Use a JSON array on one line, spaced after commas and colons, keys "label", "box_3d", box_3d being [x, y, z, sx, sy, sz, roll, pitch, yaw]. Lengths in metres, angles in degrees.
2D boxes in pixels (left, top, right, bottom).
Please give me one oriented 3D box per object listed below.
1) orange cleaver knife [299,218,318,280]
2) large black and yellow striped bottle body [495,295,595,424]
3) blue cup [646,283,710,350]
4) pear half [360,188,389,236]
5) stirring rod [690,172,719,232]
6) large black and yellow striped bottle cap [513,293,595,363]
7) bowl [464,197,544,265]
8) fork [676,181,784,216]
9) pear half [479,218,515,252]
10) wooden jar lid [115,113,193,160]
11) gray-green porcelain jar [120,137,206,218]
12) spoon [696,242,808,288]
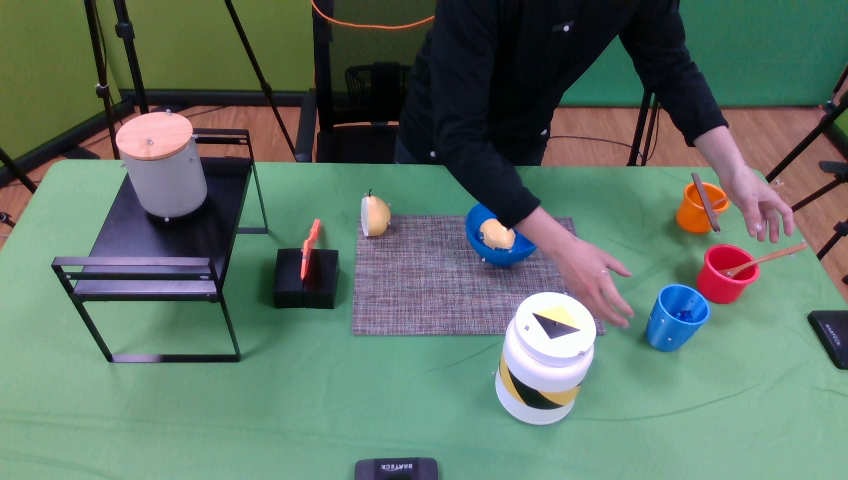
[{"label": "orange cleaver knife", "box_3d": [-0.214, 0.013, 1.126, 0.012, 0.077, 0.210, 5, 17, -5]}, {"label": "large black and yellow striped bottle body", "box_3d": [0.183, 0.182, 0.923, 0.131, 0.185, 0.130, 2, 46, -2]}, {"label": "blue cup", "box_3d": [0.427, 0.138, 1.041, 0.093, 0.101, 0.092, 3, 48, -3]}, {"label": "pear half", "box_3d": [-0.096, -0.060, 1.181, 0.056, 0.110, 0.076, -14, 52, -17]}, {"label": "stirring rod", "box_3d": [0.566, -0.080, 1.224, 0.014, 0.006, 0.175, 3, 46, 2]}, {"label": "large black and yellow striped bottle cap", "box_3d": [0.186, 0.123, 0.863, 0.115, 0.019, 0.114, 3, 45, -3]}, {"label": "bowl", "box_3d": [0.149, -0.004, 1.167, 0.151, 0.077, 0.150, 2, 46, -2]}, {"label": "fork", "box_3d": [0.618, -0.084, 1.234, 0.207, 0.019, 0.028, -23, 20, 38]}, {"label": "pear half", "box_3d": [0.145, -0.013, 1.167, 0.070, 0.031, 0.087, -21, 56, -19]}, {"label": "wooden jar lid", "box_3d": [-0.399, -0.151, 0.900, 0.108, 0.021, 0.107, 3, 46, -3]}, {"label": "gray-green porcelain jar", "box_3d": [-0.403, -0.106, 0.946, 0.106, 0.127, 0.105, 3, 46, -2]}, {"label": "spoon", "box_3d": [0.601, 0.045, 1.116, 0.194, 0.022, 0.041, -29, 34, 30]}]
